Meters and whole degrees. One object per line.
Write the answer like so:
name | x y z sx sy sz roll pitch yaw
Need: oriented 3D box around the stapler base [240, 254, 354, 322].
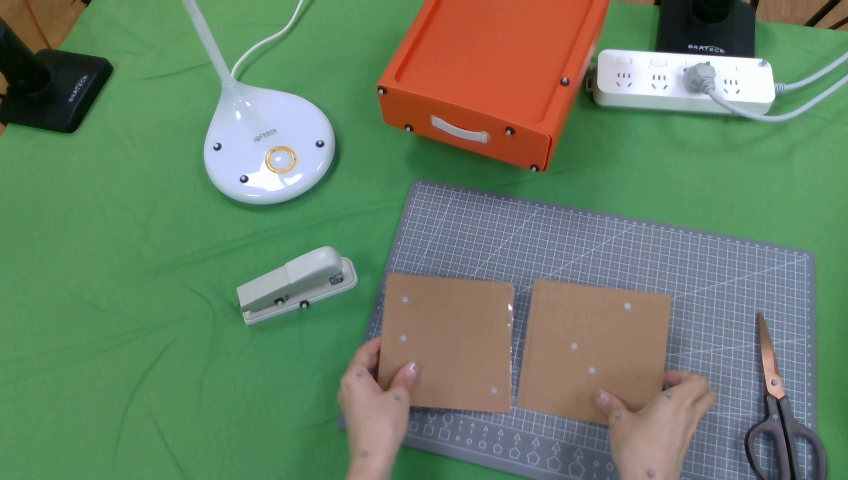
stapler base | -0.143 0.047 0.663 0.130 0.024 0.041 -20 62 -5

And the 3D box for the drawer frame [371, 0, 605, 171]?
drawer frame | 0.076 -0.211 0.696 0.201 0.083 0.212 19 68 13

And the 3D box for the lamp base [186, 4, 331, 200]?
lamp base | -0.207 -0.161 0.681 0.160 0.182 0.177 -39 65 -15

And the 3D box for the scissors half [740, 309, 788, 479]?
scissors half | 0.326 0.145 0.587 0.040 0.013 0.174 13 62 3

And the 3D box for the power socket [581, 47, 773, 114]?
power socket | 0.312 -0.198 0.748 0.226 0.033 0.071 6 65 6

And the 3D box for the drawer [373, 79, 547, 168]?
drawer | 0.075 -0.206 0.692 0.194 0.074 0.210 19 66 13

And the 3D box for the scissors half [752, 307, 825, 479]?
scissors half | 0.346 0.146 0.586 0.040 0.013 0.173 -4 62 -1

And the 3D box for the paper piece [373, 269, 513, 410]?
paper piece | 0.021 0.098 0.616 0.136 0.009 0.137 5 71 -1

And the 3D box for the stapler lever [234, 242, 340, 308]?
stapler lever | -0.147 0.036 0.640 0.118 0.040 0.026 -21 61 -4

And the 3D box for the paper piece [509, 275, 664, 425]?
paper piece | 0.158 0.102 0.601 0.134 0.004 0.135 6 65 34

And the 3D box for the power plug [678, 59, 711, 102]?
power plug | 0.315 -0.181 0.714 0.035 0.053 0.072 16 66 11
